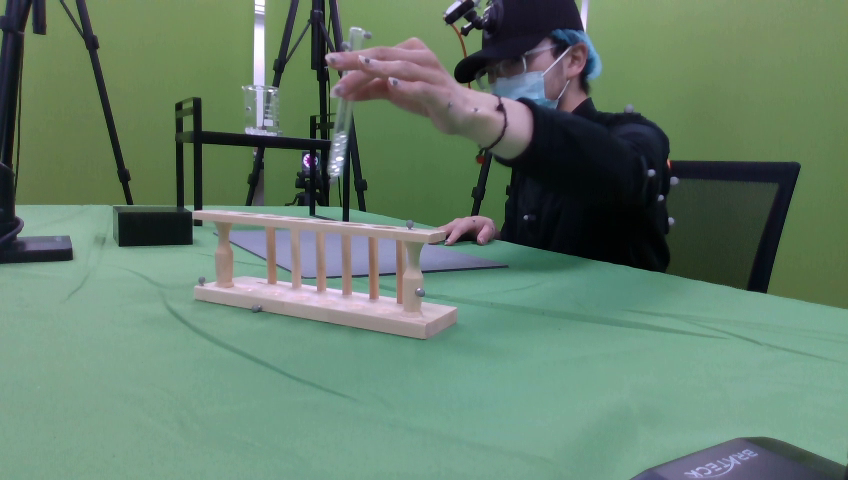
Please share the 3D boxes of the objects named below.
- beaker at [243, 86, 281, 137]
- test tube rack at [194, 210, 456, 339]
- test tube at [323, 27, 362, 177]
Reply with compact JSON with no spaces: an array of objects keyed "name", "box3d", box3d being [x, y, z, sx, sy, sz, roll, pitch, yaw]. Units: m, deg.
[{"name":"beaker","box3d":[-0.338,-0.265,1.252,0.073,0.100,0.084,8,9,38]},{"name":"test tube rack","box3d":[-0.093,0.023,0.545,0.241,0.085,0.067,6,8,25]},{"name":"test tube","box3d":[-0.082,-0.137,0.602,0.017,0.150,0.017,10,0,0]}]
